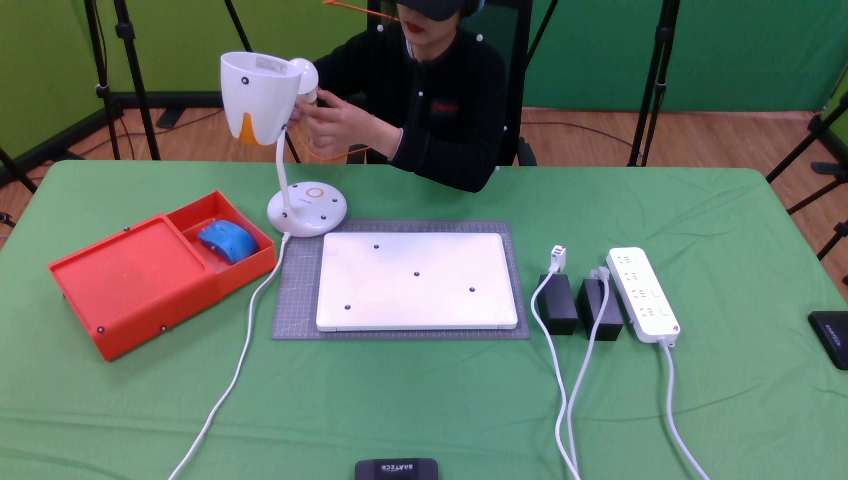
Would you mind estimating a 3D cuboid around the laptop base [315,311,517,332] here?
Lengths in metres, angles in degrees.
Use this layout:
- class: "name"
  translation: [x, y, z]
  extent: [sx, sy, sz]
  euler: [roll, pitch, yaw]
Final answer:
- class: "laptop base"
  translation: [-0.016, 0.075, 1.125]
  extent: [0.355, 0.023, 0.234]
  euler: [0, 42, -4]

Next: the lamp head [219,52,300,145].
- class: "lamp head"
  translation: [-0.244, -0.204, 0.889]
  extent: [0.112, 0.123, 0.112]
  euler: [11, 33, -7]

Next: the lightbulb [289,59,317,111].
- class: "lightbulb"
  translation: [-0.212, -0.266, 1.058]
  extent: [0.059, 0.108, 0.059]
  euler: [-3, 58, 5]

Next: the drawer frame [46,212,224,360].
- class: "drawer frame"
  translation: [-0.495, 0.071, 1.050]
  extent: [0.213, 0.083, 0.200]
  euler: [-33, 56, -30]

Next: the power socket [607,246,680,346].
- class: "power socket"
  translation: [0.403, 0.096, 1.123]
  extent: [0.072, 0.033, 0.225]
  euler: [-2, 46, -5]

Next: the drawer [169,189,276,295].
- class: "drawer"
  translation: [-0.414, 0.022, 1.108]
  extent: [0.212, 0.073, 0.193]
  euler: [-33, 57, -30]

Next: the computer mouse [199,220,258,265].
- class: "computer mouse"
  translation: [-0.374, -0.001, 1.153]
  extent: [0.116, 0.041, 0.063]
  euler: [30, 52, 27]

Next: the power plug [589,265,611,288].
- class: "power plug"
  translation: [0.318, 0.073, 1.108]
  extent: [0.035, 0.053, 0.072]
  euler: [26, 34, 13]

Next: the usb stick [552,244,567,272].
- class: "usb stick"
  translation: [0.251, 0.039, 1.123]
  extent: [0.021, 0.059, 0.027]
  euler: [14, 47, 24]

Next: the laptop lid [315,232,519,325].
- class: "laptop lid"
  translation: [-0.015, 0.065, 1.118]
  extent: [0.357, 0.013, 0.240]
  euler: [1, 43, -3]

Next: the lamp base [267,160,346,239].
- class: "lamp base"
  translation: [-0.241, -0.110, 1.175]
  extent: [0.160, 0.181, 0.178]
  euler: [11, 49, 10]
